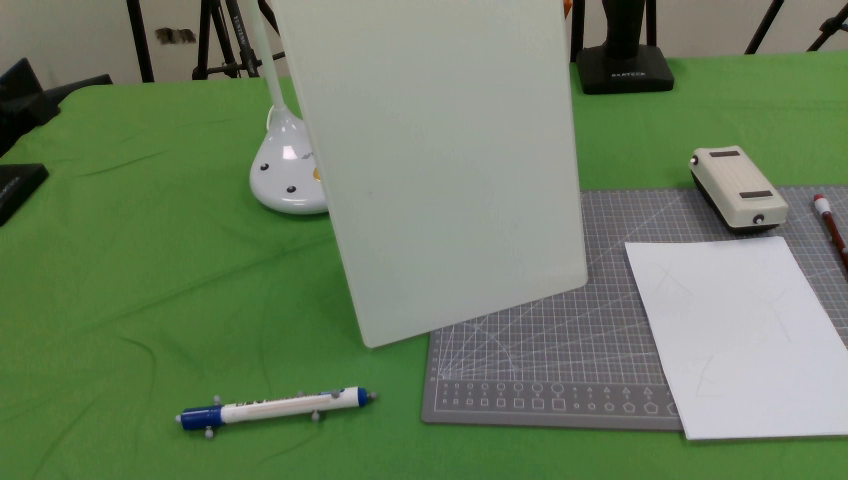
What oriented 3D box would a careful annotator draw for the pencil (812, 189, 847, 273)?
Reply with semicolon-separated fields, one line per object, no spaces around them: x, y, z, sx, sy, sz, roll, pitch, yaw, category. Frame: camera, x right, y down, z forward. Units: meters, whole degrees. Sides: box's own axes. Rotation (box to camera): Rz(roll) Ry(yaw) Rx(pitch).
0.388;0.017;0.557;0.012;0.012;0.192;3;44;11;pencil

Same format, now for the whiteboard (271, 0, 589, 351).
0.009;-0.091;0.551;0.217;0.307;0.142;-15;23;-8;whiteboard

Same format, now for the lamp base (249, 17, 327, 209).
-0.148;-0.152;0.691;0.160;0.182;0.177;-35;46;-28;lamp base

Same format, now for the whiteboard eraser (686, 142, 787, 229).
0.317;-0.057;0.623;0.055;0.042;0.111;-7;42;2;whiteboard eraser

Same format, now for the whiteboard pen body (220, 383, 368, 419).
-0.116;0.132;0.493;0.141;0.017;0.017;-7;42;0;whiteboard pen body

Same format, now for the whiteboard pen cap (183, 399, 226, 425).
-0.177;0.139;0.491;0.033;0.018;0.018;-8;42;0;whiteboard pen cap
